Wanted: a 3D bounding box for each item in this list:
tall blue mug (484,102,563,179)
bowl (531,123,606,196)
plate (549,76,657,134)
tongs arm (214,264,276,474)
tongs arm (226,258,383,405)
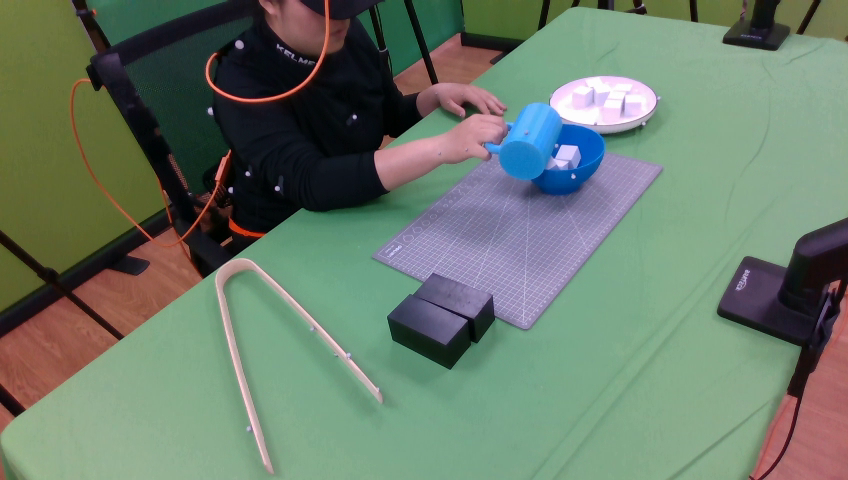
[{"bbox_3d":[0.158,-0.166,0.967,0.107,0.078,0.108,29,51,1],"label":"tall blue mug"},{"bbox_3d":[0.235,-0.131,1.045,0.151,0.077,0.150,-5,40,5],"label":"bowl"},{"bbox_3d":[0.357,-0.268,1.220,0.209,0.038,0.208,-5,40,5],"label":"plate"},{"bbox_3d":[-0.252,0.159,0.838,0.028,0.028,0.384,-27,43,-8],"label":"tongs arm"},{"bbox_3d":[-0.185,0.121,0.863,0.051,0.027,0.381,-34,45,-20],"label":"tongs arm"}]
